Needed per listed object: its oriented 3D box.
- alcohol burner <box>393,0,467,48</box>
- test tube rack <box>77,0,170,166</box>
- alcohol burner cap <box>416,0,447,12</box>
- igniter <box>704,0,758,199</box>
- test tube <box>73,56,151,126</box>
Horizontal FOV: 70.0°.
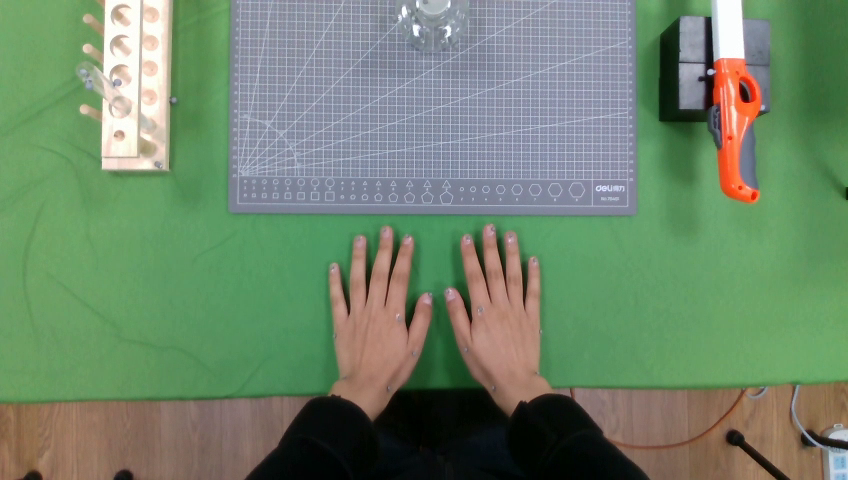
[{"bbox_3d":[0.007,-0.243,0.618,0.078,0.119,0.078,0,88,-1],"label":"alcohol burner"},{"bbox_3d":[-0.307,-0.203,0.615,0.067,0.085,0.242,0,88,-3],"label":"test tube rack"},{"bbox_3d":[0.007,-0.244,0.582,0.034,0.048,0.034,0,88,0],"label":"alcohol burner cap"},{"bbox_3d":[0.318,-0.179,0.632,0.057,0.025,0.276,-1,86,-6],"label":"igniter"},{"bbox_3d":[-0.286,-0.135,0.565,0.017,0.150,0.017,1,83,-6],"label":"test tube"}]
